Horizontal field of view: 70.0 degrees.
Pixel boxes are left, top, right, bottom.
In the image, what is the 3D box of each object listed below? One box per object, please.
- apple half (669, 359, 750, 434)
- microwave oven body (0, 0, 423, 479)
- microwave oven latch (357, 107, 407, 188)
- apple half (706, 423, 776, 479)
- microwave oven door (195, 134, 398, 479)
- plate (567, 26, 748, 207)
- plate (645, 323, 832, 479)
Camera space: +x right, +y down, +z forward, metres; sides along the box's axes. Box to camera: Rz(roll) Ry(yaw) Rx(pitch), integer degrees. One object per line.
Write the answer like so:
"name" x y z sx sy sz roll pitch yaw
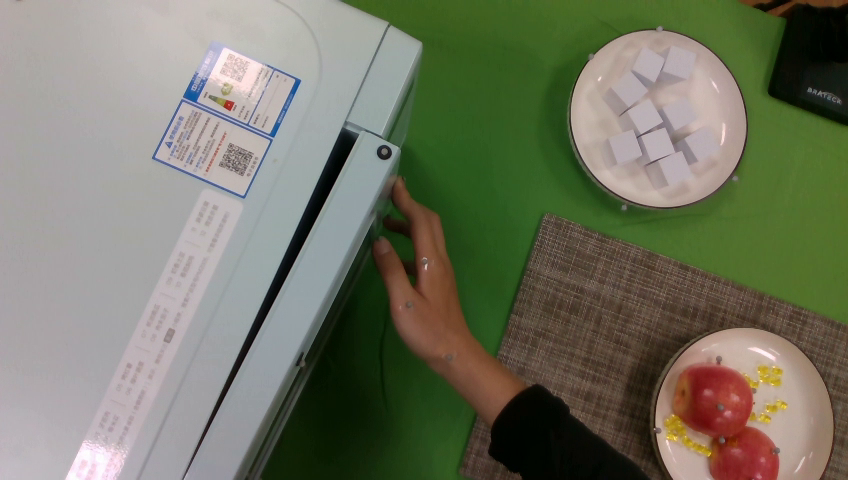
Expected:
"apple half" 0.312 0.169 0.653 0.075 0.053 0.080 18 84 -1
"microwave oven body" -0.241 -0.003 0.519 0.326 0.260 0.441 23 84 -3
"microwave oven latch" -0.045 -0.097 0.643 0.030 0.029 0.079 26 84 -3
"apple half" 0.350 0.239 0.659 0.081 0.033 0.081 1 82 -6
"microwave oven door" -0.117 0.096 0.517 0.039 0.244 0.355 26 83 -2
"plate" 0.263 -0.138 0.694 0.208 0.039 0.207 1 85 -5
"plate" 0.341 0.194 0.669 0.209 0.038 0.208 0 86 -5
